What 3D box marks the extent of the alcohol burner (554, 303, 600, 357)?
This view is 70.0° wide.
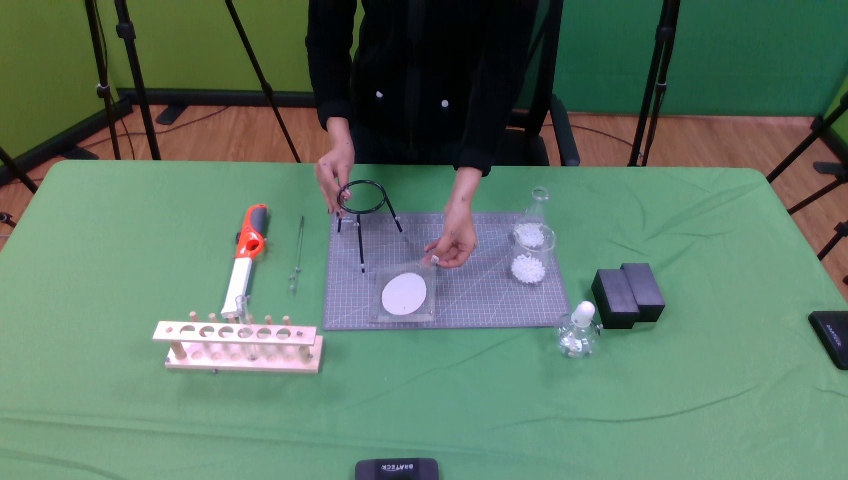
[{"bbox_3d":[0.260,0.143,1.018,0.078,0.119,0.077,3,45,-3],"label":"alcohol burner"}]

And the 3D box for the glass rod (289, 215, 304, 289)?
[{"bbox_3d":[-0.246,0.019,1.171,0.008,0.008,0.198,0,43,-3],"label":"glass rod"}]

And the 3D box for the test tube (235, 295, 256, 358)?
[{"bbox_3d":[-0.274,0.136,0.933,0.017,0.151,0.017,4,46,-4],"label":"test tube"}]

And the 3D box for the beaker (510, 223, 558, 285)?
[{"bbox_3d":[0.199,0.027,1.131,0.083,0.101,0.074,26,50,21],"label":"beaker"}]

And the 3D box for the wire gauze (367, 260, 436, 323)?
[{"bbox_3d":[-0.039,0.092,1.081,0.125,0.011,0.121,-7,55,19],"label":"wire gauze"}]

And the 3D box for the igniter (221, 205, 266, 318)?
[{"bbox_3d":[-0.337,0.030,1.140,0.057,0.025,0.274,-5,46,4],"label":"igniter"}]

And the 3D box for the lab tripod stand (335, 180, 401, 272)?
[{"bbox_3d":[-0.111,-0.038,1.137,0.148,0.132,0.147,0,45,0],"label":"lab tripod stand"}]

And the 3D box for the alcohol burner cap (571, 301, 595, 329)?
[{"bbox_3d":[0.262,0.120,0.991,0.034,0.048,0.033,2,52,-2],"label":"alcohol burner cap"}]

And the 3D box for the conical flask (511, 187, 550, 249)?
[{"bbox_3d":[0.217,-0.048,1.190,0.075,0.122,0.075,2,46,-2],"label":"conical flask"}]

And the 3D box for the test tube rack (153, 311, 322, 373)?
[{"bbox_3d":[-0.293,0.160,0.977,0.242,0.085,0.066,3,46,-2],"label":"test tube rack"}]
